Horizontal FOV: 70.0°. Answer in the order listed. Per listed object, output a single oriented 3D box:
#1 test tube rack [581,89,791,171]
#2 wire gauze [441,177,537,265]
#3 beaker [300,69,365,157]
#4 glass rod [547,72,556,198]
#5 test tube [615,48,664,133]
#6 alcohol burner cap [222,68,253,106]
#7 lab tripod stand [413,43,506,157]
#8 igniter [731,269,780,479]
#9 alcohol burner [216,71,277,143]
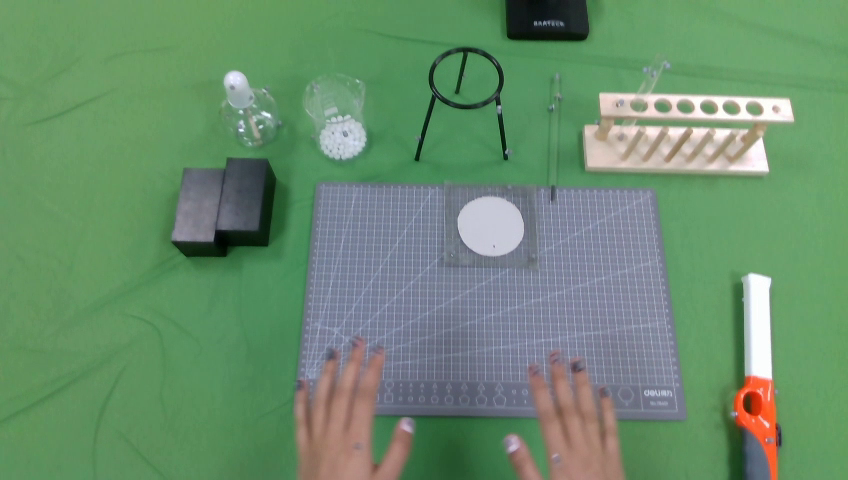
[{"bbox_3d":[0.337,-0.143,0.792,0.242,0.086,0.066,1,68,0],"label":"test tube rack"},{"bbox_3d":[0.083,-0.027,0.781,0.125,0.011,0.120,2,67,1],"label":"wire gauze"},{"bbox_3d":[-0.112,-0.161,0.783,0.084,0.101,0.073,-36,73,-15],"label":"beaker"},{"bbox_3d":[0.176,-0.147,0.831,0.008,0.008,0.198,6,70,1],"label":"glass rod"},{"bbox_3d":[0.265,-0.181,0.753,0.017,0.151,0.017,0,65,0],"label":"test tube"},{"bbox_3d":[-0.231,-0.192,0.746,0.034,0.048,0.033,2,70,-5],"label":"alcohol burner cap"},{"bbox_3d":[0.045,-0.177,0.775,0.148,0.132,0.147,0,67,1],"label":"lab tripod stand"},{"bbox_3d":[0.384,0.165,0.703,0.057,0.025,0.275,14,69,-6],"label":"igniter"},{"bbox_3d":[-0.233,-0.178,0.780,0.078,0.120,0.077,1,66,-1],"label":"alcohol burner"}]
